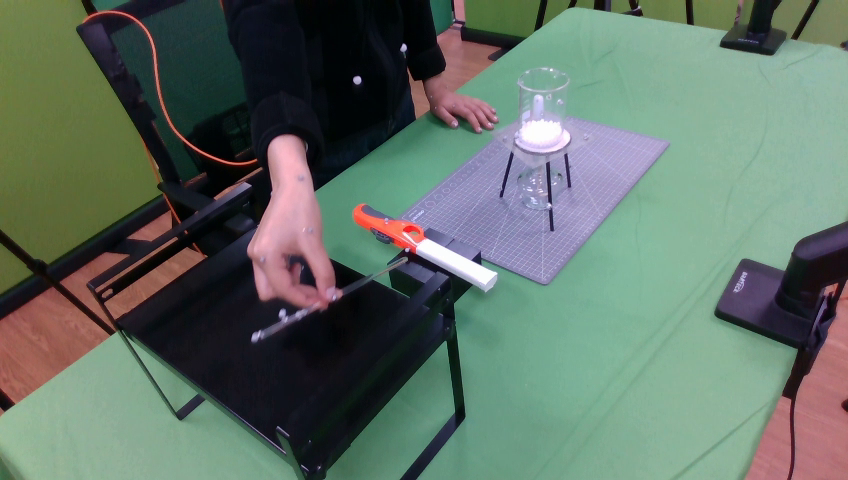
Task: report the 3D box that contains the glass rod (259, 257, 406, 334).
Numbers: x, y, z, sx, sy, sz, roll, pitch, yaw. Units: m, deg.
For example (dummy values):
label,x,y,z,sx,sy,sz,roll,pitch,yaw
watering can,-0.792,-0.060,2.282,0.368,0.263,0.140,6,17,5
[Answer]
label,x,y,z,sx,sy,sz,roll,pitch,yaw
glass rod,-0.085,0.051,0.614,0.008,0.008,0.201,24,33,32

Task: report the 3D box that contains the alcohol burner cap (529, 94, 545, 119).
label,x,y,z,sx,sy,sz,roll,pitch,yaw
alcohol burner cap,0.233,-0.277,1.247,0.034,0.048,0.033,-5,41,5

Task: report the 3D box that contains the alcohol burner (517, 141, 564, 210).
label,x,y,z,sx,sy,sz,roll,pitch,yaw
alcohol burner,0.193,-0.110,1.001,0.078,0.119,0.077,-5,38,5

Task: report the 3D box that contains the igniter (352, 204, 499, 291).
label,x,y,z,sx,sy,sz,roll,pitch,yaw
igniter,-0.009,0.005,0.895,0.274,0.025,0.057,27,48,32

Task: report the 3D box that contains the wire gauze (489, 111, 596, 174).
label,x,y,z,sx,sy,sz,roll,pitch,yaw
wire gauze,0.183,-0.159,0.943,0.122,0.011,0.124,-25,47,-17

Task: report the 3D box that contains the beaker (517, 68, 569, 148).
label,x,y,z,sx,sy,sz,roll,pitch,yaw
beaker,0.179,-0.198,0.914,0.073,0.100,0.084,25,49,31

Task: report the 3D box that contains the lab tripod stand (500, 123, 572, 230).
label,x,y,z,sx,sy,sz,roll,pitch,yaw
lab tripod stand,0.194,-0.110,0.985,0.148,0.132,0.147,-3,41,3
